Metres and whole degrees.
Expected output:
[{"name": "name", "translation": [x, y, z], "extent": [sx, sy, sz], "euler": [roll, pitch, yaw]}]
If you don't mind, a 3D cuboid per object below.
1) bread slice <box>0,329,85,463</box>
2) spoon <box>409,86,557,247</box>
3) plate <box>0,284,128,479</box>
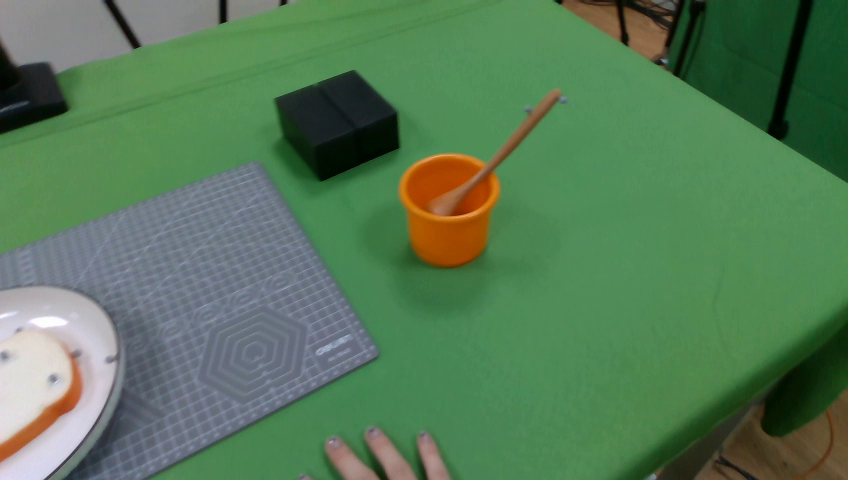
[{"name": "bread slice", "translation": [-0.340, 0.126, 0.474], "extent": [0.104, 0.019, 0.131], "euler": [36, 60, 28]}, {"name": "spoon", "translation": [0.049, -0.066, 0.553], "extent": [0.194, 0.022, 0.041], "euler": [-44, 49, 17]}, {"name": "plate", "translation": [-0.335, 0.126, 0.469], "extent": [0.209, 0.038, 0.207], "euler": [0, 48, 1]}]
